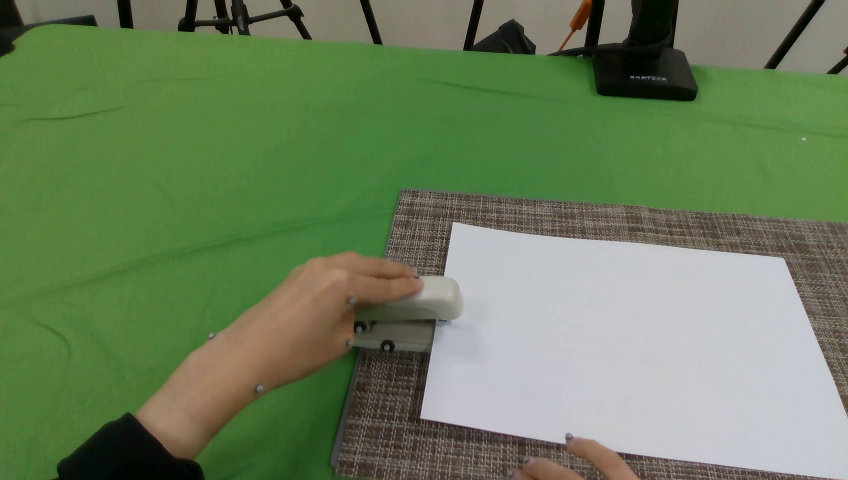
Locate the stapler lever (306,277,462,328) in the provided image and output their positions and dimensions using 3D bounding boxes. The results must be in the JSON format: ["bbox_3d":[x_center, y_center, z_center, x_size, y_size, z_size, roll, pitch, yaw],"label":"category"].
[{"bbox_3d":[-0.030,0.046,0.456,0.118,0.040,0.026,4,42,5],"label":"stapler lever"}]

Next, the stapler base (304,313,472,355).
[{"bbox_3d":[-0.028,0.063,0.473,0.130,0.024,0.041,3,42,5],"label":"stapler base"}]
